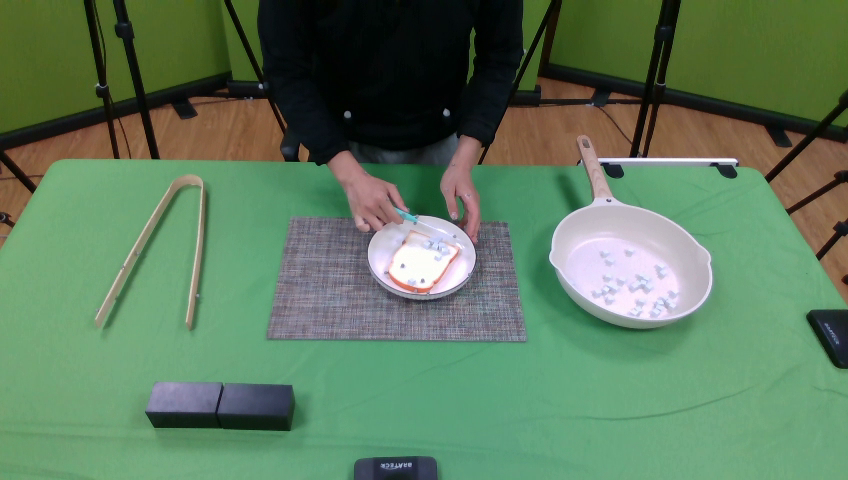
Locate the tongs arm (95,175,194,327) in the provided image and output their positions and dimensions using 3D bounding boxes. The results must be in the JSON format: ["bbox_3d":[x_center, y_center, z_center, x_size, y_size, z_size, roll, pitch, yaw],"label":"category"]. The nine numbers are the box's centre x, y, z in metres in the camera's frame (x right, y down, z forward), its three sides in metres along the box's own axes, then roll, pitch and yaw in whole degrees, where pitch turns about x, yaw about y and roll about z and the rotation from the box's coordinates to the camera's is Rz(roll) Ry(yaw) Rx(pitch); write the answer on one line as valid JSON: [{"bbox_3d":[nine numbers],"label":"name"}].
[{"bbox_3d":[-0.516,0.006,1.142,0.051,0.026,0.382,4,45,-2],"label":"tongs arm"}]

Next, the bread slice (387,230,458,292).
[{"bbox_3d":[-0.007,0.043,1.142,0.107,0.018,0.134,18,46,14],"label":"bread slice"}]

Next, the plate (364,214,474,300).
[{"bbox_3d":[-0.010,0.036,1.147,0.208,0.039,0.206,2,46,-2],"label":"plate"}]

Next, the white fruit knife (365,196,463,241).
[{"bbox_3d":[-0.021,-0.040,1.160,0.207,0.027,0.016,23,86,7],"label":"white fruit knife"}]

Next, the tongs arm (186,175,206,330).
[{"bbox_3d":[-0.436,0.009,1.151,0.028,0.028,0.385,-7,47,-8],"label":"tongs arm"}]

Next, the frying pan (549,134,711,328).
[{"bbox_3d":[0.372,-0.035,1.203,0.307,0.103,0.484,-1,55,-6],"label":"frying pan"}]
